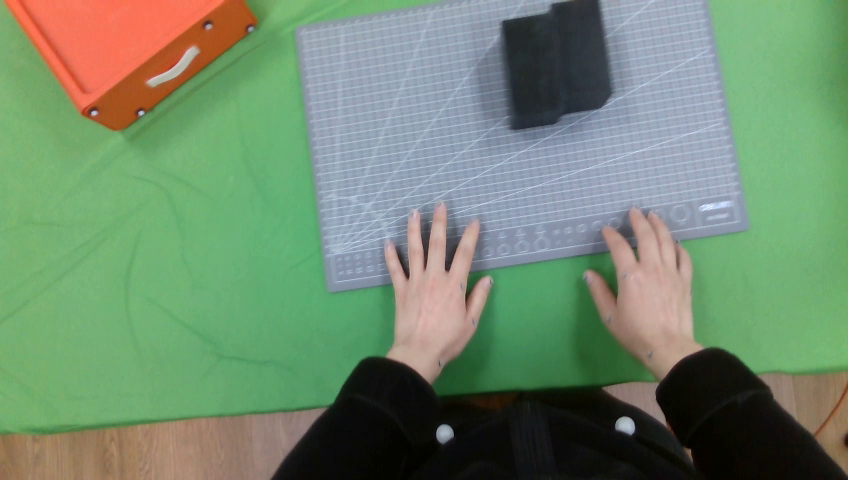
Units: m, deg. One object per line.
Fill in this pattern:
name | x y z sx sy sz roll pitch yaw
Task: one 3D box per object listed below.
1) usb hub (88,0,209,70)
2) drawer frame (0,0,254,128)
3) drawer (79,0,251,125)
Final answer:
usb hub | -0.303 -0.246 0.667 0.125 0.025 0.049 -37 86 1
drawer frame | -0.332 -0.267 0.654 0.201 0.083 0.213 -38 83 0
drawer | -0.330 -0.267 0.655 0.194 0.073 0.211 -38 85 1
